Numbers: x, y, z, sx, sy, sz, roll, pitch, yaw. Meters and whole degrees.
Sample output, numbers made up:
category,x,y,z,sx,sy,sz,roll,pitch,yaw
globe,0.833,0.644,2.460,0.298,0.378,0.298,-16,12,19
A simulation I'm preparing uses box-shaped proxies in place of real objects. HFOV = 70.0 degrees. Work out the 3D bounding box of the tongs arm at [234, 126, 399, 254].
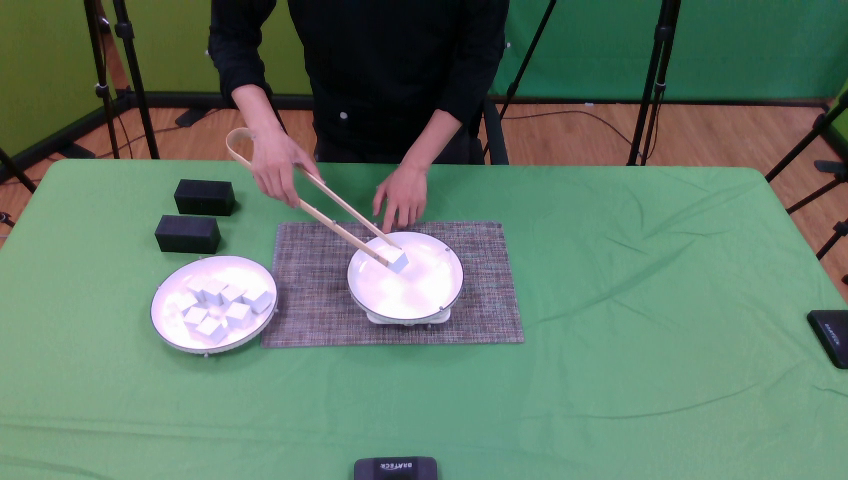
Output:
category,x,y,z,sx,sy,sz,roll,pitch,yaw
tongs arm,-0.192,-0.095,1.075,0.386,0.028,0.028,38,73,14

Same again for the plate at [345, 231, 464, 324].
category,x,y,z,sx,sy,sz,roll,pitch,yaw
plate,-0.034,0.069,1.069,0.209,0.038,0.208,2,46,-2

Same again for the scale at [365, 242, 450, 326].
category,x,y,z,sx,sy,sz,roll,pitch,yaw
scale,-0.032,0.071,1.113,0.149,0.032,0.199,1,46,-4

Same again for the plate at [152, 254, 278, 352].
category,x,y,z,sx,sy,sz,roll,pitch,yaw
plate,-0.357,0.111,1.052,0.208,0.039,0.206,2,46,-2

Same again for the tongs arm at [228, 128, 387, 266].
category,x,y,z,sx,sy,sz,roll,pitch,yaw
tongs arm,-0.206,-0.080,1.067,0.384,0.026,0.050,33,69,13
